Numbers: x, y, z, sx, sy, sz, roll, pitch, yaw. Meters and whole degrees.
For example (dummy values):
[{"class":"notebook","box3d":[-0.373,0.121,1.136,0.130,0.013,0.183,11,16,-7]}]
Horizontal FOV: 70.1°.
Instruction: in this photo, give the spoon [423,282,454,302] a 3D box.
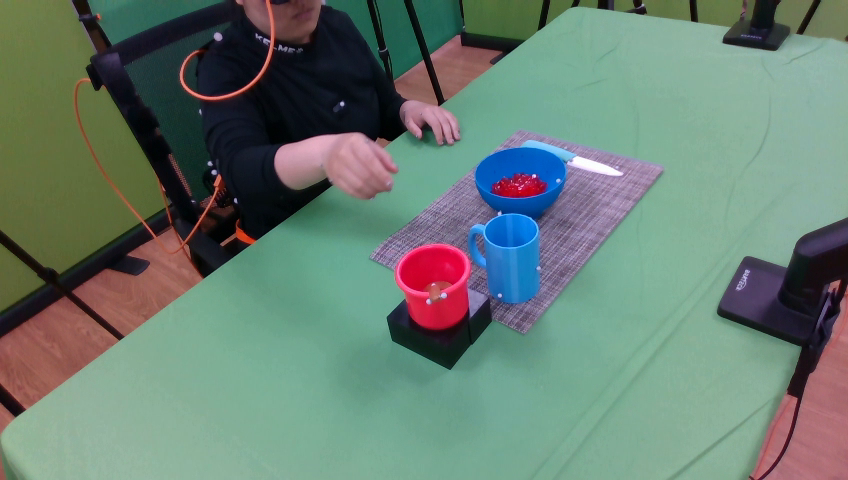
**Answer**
[{"class":"spoon","box3d":[0.015,0.062,0.733,0.041,0.021,0.194,-5,-4,3]}]

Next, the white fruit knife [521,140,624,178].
[{"class":"white fruit knife","box3d":[0.270,-0.149,1.110,0.206,0.016,0.027,25,80,32]}]

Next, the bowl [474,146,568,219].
[{"class":"bowl","box3d":[0.161,-0.083,1.001,0.151,0.077,0.150,-5,40,5]}]

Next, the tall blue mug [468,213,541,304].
[{"class":"tall blue mug","box3d":[0.111,0.026,0.856,0.107,0.108,0.077,2,42,13]}]
